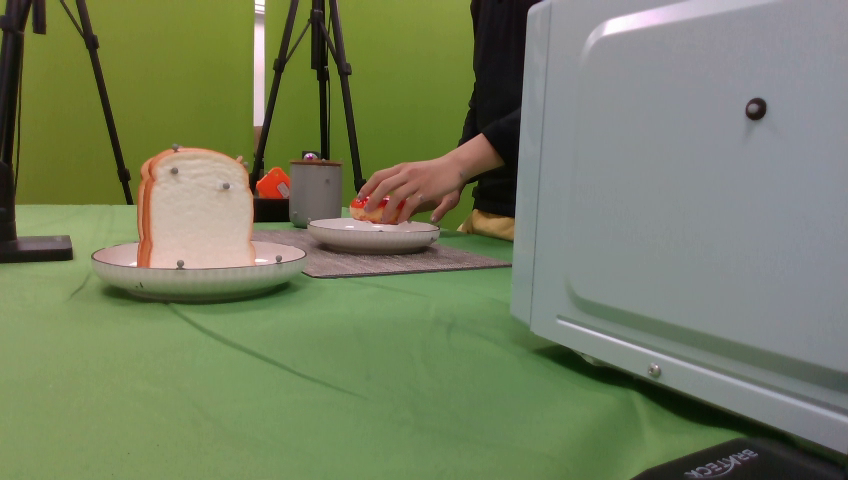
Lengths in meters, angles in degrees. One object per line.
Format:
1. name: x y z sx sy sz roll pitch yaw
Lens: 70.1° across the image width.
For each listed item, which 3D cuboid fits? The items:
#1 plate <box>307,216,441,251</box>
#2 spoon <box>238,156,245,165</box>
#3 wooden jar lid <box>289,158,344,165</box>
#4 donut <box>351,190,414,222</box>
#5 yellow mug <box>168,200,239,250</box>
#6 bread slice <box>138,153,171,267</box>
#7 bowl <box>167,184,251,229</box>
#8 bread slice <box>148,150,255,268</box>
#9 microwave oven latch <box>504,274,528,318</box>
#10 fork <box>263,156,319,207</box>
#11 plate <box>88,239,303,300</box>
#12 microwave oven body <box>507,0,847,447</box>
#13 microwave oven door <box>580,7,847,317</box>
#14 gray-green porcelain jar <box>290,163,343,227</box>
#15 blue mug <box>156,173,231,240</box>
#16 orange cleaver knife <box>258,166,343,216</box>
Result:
1. plate: -0.078 -0.011 0.954 0.209 0.038 0.209 2 7 0
2. spoon: -0.477 -0.145 1.492 0.041 0.022 0.193 -1 51 13
3. wooden jar lid: -0.215 -0.153 1.212 0.108 0.020 0.108 2 5 0
4. donut: -0.066 -0.053 0.950 0.099 0.048 0.099 1 12 0
5. yellow mug: -0.319 -0.023 0.904 0.130 0.064 0.100 9 11 36
6. bread slice: -0.256 -0.029 0.660 0.105 0.131 0.019 -1 0 -36
7. bowl: -0.408 -0.064 1.154 0.151 0.077 0.151 2 8 0
8. bread slice: -0.230 -0.024 0.618 0.107 0.134 0.018 -8 10 -34
9. microwave oven latch: 0.100 0.041 0.471 0.079 0.029 0.030 -1 8 -28
10. fork: -0.331 -0.144 1.505 0.207 0.018 0.028 -42 -20 22
11. plate: -0.233 0.029 0.636 0.208 0.039 0.207 2 7 0
12. microwave oven body: 0.331 -0.042 0.425 0.444 0.260 0.324 -2 8 -31
13. microwave oven door: 0.294 -0.067 0.570 0.358 0.243 0.039 -3 9 -31
14. gray-green porcelain jar: -0.217 -0.091 1.221 0.106 0.126 0.106 2 7 0
15. blue mug: -0.381 -0.057 1.004 0.117 0.106 0.082 0 8 -12
16. orange cleaver knife: -0.276 -0.090 1.369 0.212 0.077 0.012 33 -11 -34
